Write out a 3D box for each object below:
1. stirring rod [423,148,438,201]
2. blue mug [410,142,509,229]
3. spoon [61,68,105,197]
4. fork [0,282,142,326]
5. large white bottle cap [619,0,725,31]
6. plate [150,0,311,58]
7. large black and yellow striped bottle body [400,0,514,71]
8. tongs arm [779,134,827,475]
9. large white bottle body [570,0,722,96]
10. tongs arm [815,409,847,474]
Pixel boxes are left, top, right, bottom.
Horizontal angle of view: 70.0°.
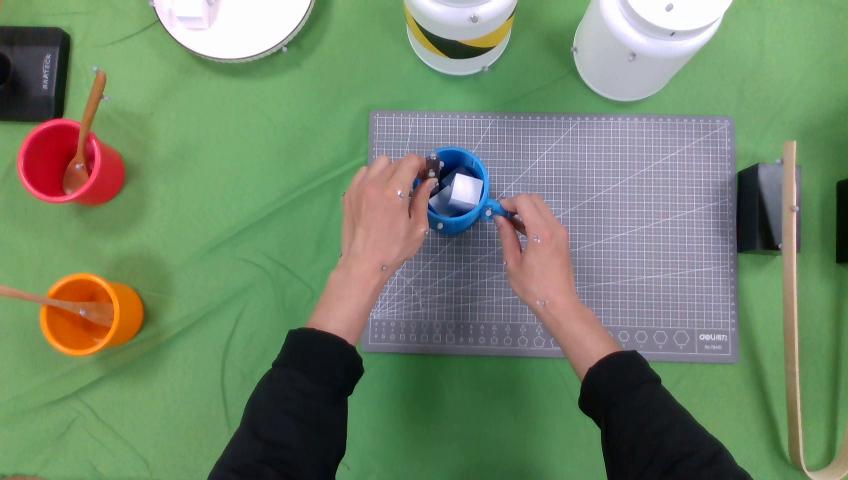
[{"bbox_3d":[0.008,-0.067,0.647,0.014,0.177,0.006,-19,79,-2],"label":"stirring rod"},{"bbox_3d":[0.043,-0.053,0.693,0.116,0.106,0.082,24,86,3],"label":"blue mug"},{"bbox_3d":[-0.388,-0.118,0.691,0.041,0.021,0.194,47,131,8],"label":"spoon"},{"bbox_3d":[-0.422,0.063,0.674,0.209,0.018,0.028,24,84,-40],"label":"fork"},{"bbox_3d":[0.240,-0.260,0.585,0.115,0.018,0.114,0,84,1],"label":"large white bottle cap"},{"bbox_3d":[-0.237,-0.325,0.759,0.207,0.039,0.207,0,85,1],"label":"plate"},{"bbox_3d":[0.037,-0.283,0.676,0.131,0.184,0.130,0,84,2],"label":"large black and yellow striped bottle body"},{"bbox_3d":[0.424,0.076,0.676,0.051,0.026,0.385,-3,97,-1],"label":"tongs arm"},{"bbox_3d":[0.243,-0.250,0.668,0.130,0.185,0.130,0,85,1],"label":"large white bottle body"},{"bbox_3d":[0.506,0.078,0.676,0.028,0.027,0.388,10,97,-6],"label":"tongs arm"}]
